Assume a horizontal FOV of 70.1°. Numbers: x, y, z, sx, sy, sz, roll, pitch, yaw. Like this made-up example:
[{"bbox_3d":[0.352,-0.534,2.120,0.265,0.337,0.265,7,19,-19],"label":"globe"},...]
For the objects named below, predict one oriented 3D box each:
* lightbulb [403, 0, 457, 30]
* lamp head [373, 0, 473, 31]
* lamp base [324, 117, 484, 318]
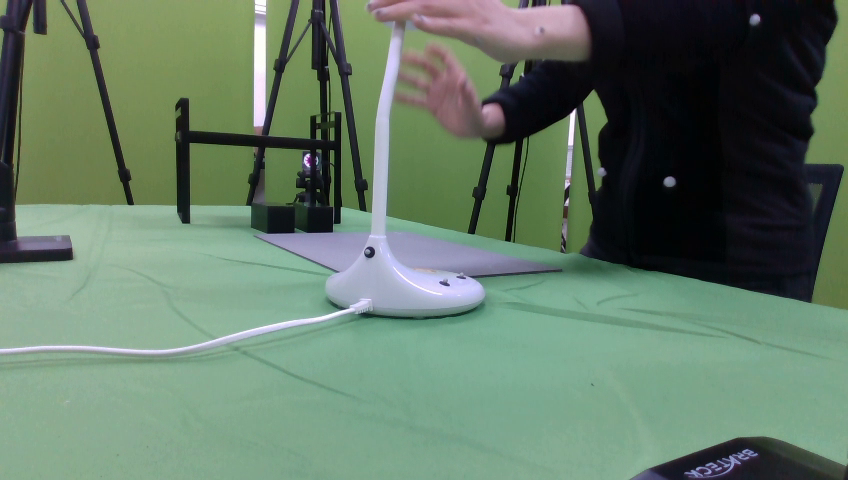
[{"bbox_3d":[0.000,-0.284,0.659,0.059,0.108,0.059,-12,41,11],"label":"lightbulb"},{"bbox_3d":[-0.010,-0.298,0.640,0.112,0.123,0.112,-7,49,8],"label":"lamp head"},{"bbox_3d":[-0.020,-0.025,0.583,0.160,0.180,0.179,4,10,17],"label":"lamp base"}]
